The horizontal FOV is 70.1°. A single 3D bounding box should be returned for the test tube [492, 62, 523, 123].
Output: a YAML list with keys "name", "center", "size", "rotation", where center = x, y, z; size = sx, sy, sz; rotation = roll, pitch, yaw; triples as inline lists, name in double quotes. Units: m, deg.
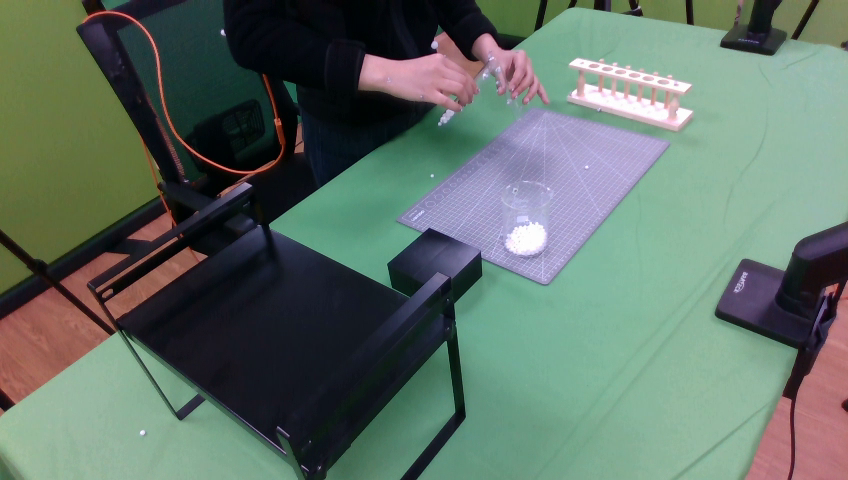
- name: "test tube"
  center: [0.151, -0.259, 1.077]
  size: [0.017, 0.152, 0.017]
  rotation: [-13, 57, 20]

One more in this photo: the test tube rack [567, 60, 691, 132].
- name: "test tube rack"
  center: [0.411, -0.299, 1.217]
  size: [0.240, 0.085, 0.067]
  rotation: [26, 51, 34]

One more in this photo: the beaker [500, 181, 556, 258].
- name: "beaker"
  center: [0.159, -0.030, 0.922]
  size: [0.084, 0.100, 0.073]
  rotation: [-13, 41, -8]

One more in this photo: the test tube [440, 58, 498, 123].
- name: "test tube"
  center: [0.074, -0.245, 0.990]
  size: [0.017, 0.017, 0.150]
  rotation: [27, 69, 34]
